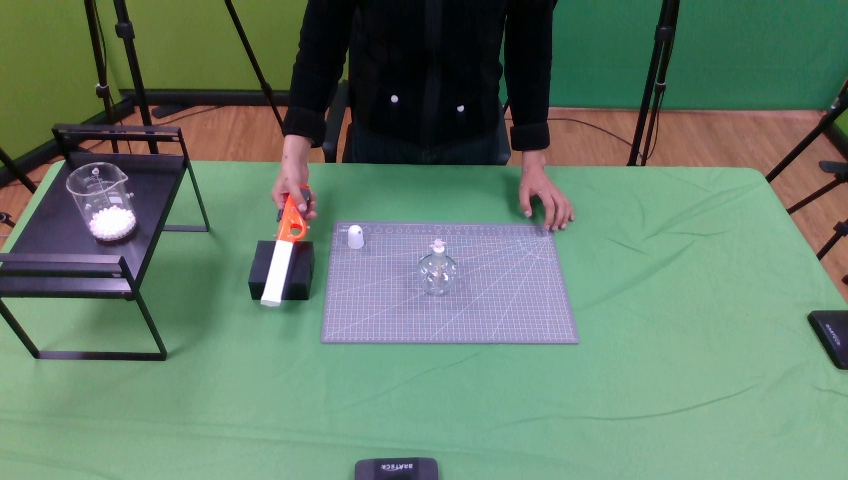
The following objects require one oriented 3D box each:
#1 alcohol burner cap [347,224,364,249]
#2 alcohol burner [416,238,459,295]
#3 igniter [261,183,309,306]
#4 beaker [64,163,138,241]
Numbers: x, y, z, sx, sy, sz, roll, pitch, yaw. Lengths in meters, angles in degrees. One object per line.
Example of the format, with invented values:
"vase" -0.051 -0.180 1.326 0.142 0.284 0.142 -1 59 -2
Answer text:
"alcohol burner cap" -0.134 -0.010 1.177 0.034 0.048 0.033 2 47 -2
"alcohol burner" 0.024 0.042 1.088 0.078 0.120 0.077 1 46 0
"igniter" -0.250 -0.002 1.099 0.057 0.025 0.275 14 51 -12
"beaker" -0.477 -0.055 0.910 0.084 0.101 0.073 -9 48 -13
